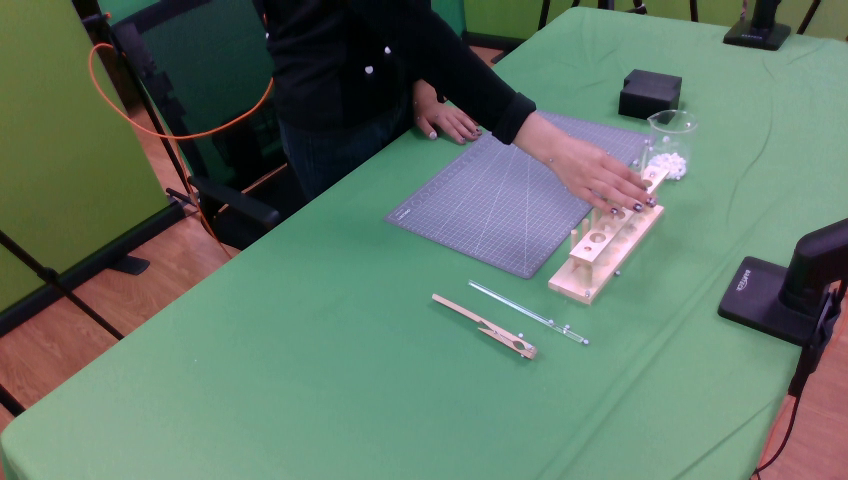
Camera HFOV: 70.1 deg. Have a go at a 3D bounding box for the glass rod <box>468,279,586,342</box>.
[{"bbox_3d":[0.140,0.096,0.852,0.198,0.008,0.008,27,52,34],"label":"glass rod"}]

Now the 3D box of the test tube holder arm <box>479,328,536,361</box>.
[{"bbox_3d":[0.110,0.135,0.805,0.087,0.015,0.010,28,84,36],"label":"test tube holder arm"}]

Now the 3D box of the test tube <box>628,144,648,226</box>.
[{"bbox_3d":[0.309,-0.076,0.877,0.017,0.151,0.017,-6,45,6],"label":"test tube"}]

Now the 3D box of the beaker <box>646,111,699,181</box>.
[{"bbox_3d":[0.417,-0.160,1.032,0.083,0.101,0.074,25,51,35],"label":"beaker"}]

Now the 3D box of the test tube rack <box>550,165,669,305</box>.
[{"bbox_3d":[0.279,-0.018,0.902,0.066,0.085,0.243,24,50,33],"label":"test tube rack"}]

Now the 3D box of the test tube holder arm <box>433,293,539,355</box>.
[{"bbox_3d":[0.081,0.114,0.832,0.177,0.015,0.013,27,83,36],"label":"test tube holder arm"}]
